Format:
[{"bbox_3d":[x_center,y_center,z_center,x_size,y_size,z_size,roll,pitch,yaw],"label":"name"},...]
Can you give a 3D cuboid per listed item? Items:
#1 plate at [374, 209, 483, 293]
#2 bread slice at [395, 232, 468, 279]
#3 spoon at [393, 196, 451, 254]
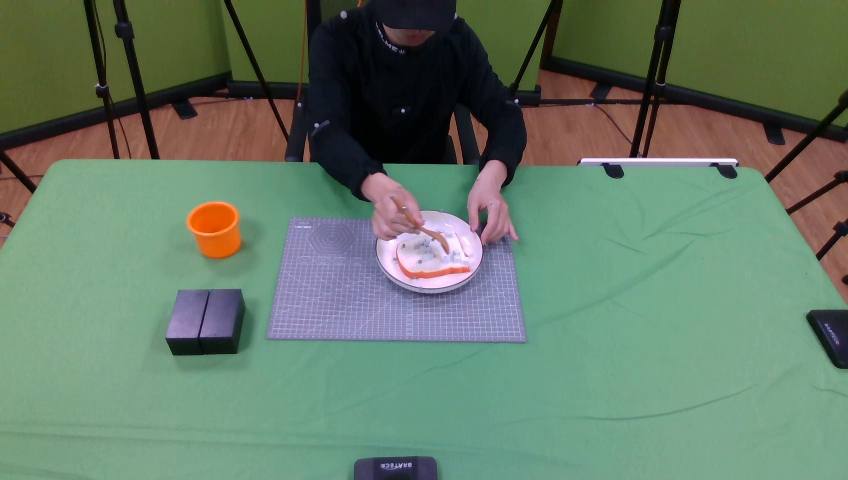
[{"bbox_3d":[0.009,0.024,1.160,0.209,0.038,0.208,2,46,-2],"label":"plate"},{"bbox_3d":[0.011,0.030,1.159,0.132,0.019,0.104,-8,47,-15],"label":"bread slice"},{"bbox_3d":[-0.001,-0.024,1.068,0.021,0.195,0.041,-41,49,10],"label":"spoon"}]
